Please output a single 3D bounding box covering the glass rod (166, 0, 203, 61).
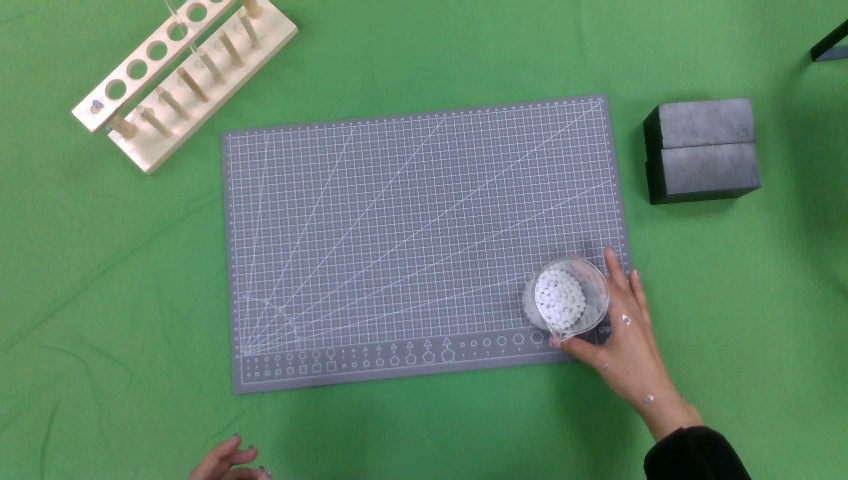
[{"bbox_3d":[-0.255,-0.240,0.613,0.008,0.200,0.008,1,74,-2],"label":"glass rod"}]

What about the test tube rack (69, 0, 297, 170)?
[{"bbox_3d":[-0.258,-0.195,0.672,0.066,0.085,0.242,43,84,7],"label":"test tube rack"}]

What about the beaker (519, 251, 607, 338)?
[{"bbox_3d":[0.137,0.059,0.623,0.074,0.100,0.084,12,82,3],"label":"beaker"}]
